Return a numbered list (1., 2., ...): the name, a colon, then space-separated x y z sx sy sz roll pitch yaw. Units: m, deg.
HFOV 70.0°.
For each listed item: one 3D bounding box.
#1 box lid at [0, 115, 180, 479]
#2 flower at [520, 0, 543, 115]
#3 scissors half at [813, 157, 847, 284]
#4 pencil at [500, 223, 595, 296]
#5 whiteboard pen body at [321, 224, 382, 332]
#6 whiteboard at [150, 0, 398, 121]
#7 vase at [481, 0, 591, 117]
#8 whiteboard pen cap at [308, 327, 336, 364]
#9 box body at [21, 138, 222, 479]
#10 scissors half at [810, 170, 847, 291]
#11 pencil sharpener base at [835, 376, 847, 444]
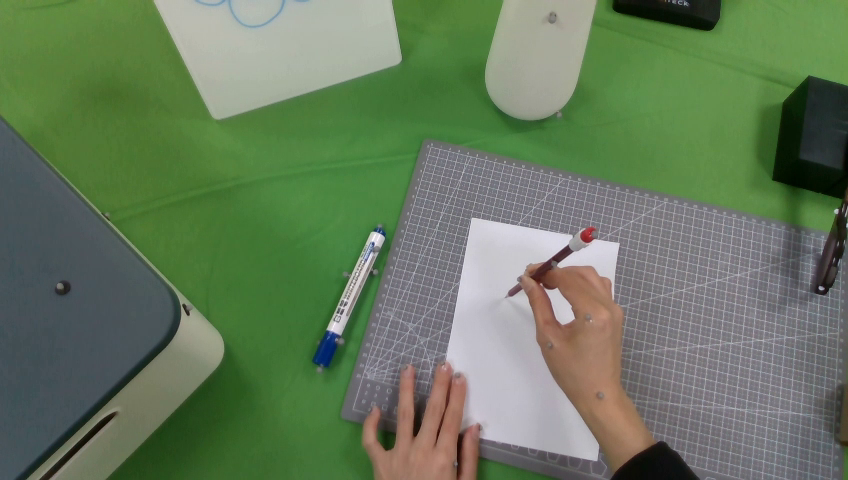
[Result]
1. box lid: -0.386 0.024 0.436 0.370 0.015 0.263 40 75 12
2. flower: 0.105 -0.246 0.505 0.044 0.365 0.038 7 53 6
3. scissors half: 0.394 -0.040 0.570 0.013 0.040 0.174 16 73 24
4. pencil: 0.094 0.023 0.500 0.012 0.194 0.012 4 70 -10
5. whiteboard pen body: -0.073 0.047 0.586 0.017 0.017 0.140 21 70 7
6. whiteboard: -0.168 -0.307 0.587 0.217 0.308 0.142 -19 53 -6
7. vase: 0.108 -0.205 0.579 0.098 0.201 0.097 0 69 1
8. whiteboard pen cap: -0.094 0.098 0.566 0.018 0.018 0.033 20 68 7
9. box body: -0.385 0.050 0.506 0.362 0.161 0.254 40 76 12
10. scissors half: 0.402 -0.035 0.588 0.012 0.040 0.175 16 91 29
11. pencil sharpener base: 0.418 0.149 0.509 0.076 0.107 0.061 18 71 3
